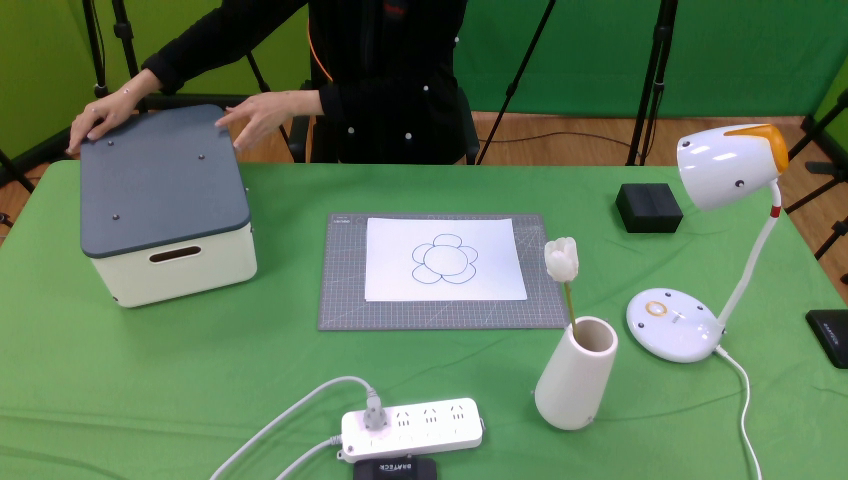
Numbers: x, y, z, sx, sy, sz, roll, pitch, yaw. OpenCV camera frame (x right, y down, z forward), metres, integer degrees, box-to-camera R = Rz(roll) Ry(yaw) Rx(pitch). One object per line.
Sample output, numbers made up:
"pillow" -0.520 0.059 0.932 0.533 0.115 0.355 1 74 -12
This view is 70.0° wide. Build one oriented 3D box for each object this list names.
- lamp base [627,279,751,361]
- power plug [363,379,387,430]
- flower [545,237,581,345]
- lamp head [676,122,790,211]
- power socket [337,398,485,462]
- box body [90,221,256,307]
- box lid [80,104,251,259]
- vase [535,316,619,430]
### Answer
"lamp base" 0.460 0.100 1.027 0.178 0.181 0.160 27 51 17
"power plug" -0.072 0.252 0.911 0.035 0.053 0.072 3 40 0
"flower" 0.213 0.137 0.846 0.038 0.364 0.044 22 55 40
"lamp head" 0.423 -0.104 0.819 0.122 0.113 0.112 -13 33 40
"power socket" -0.018 0.285 0.914 0.227 0.033 0.071 -4 46 -8
"box body" -0.471 -0.070 1.131 0.254 0.161 0.361 -14 49 -17
"box lid" -0.467 -0.120 1.076 0.264 0.015 0.369 -14 49 -17
"vase" 0.229 0.200 0.901 0.098 0.201 0.097 3 46 -3
